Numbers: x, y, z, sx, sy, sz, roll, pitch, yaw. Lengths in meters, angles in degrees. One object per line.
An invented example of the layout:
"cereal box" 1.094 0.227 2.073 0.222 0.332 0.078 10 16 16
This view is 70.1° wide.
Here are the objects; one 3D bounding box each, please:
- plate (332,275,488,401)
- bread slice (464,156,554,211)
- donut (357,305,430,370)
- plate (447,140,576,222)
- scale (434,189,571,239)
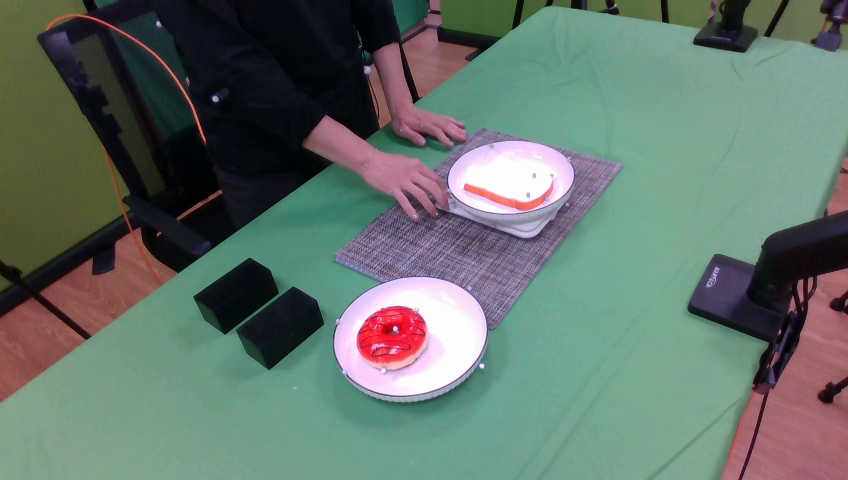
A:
"plate" -0.017 0.131 0.808 0.207 0.039 0.206 -4 41 4
"bread slice" 0.149 -0.095 0.998 0.130 0.019 0.105 25 51 33
"donut" -0.041 0.127 0.798 0.099 0.048 0.098 -7 40 6
"plate" 0.143 -0.094 0.995 0.209 0.038 0.208 -4 41 4
"scale" 0.132 -0.074 1.025 0.199 0.032 0.149 22 48 30
